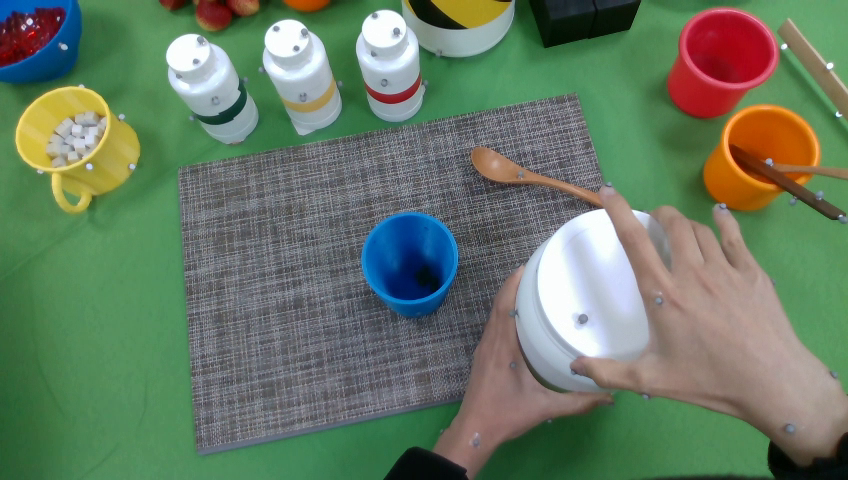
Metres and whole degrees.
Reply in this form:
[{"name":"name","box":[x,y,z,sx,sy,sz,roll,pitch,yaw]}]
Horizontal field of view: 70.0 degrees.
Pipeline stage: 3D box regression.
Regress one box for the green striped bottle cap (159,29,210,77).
[{"name":"green striped bottle cap","box":[-0.230,-0.179,0.581,0.044,0.020,0.044,0,71,1]}]

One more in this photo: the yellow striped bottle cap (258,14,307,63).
[{"name":"yellow striped bottle cap","box":[-0.136,-0.194,0.583,0.044,0.019,0.044,0,73,1]}]

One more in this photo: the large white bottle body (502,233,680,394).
[{"name":"large white bottle body","box":[0.137,0.057,0.507,0.130,0.186,0.129,-1,71,2]}]

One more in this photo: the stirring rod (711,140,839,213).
[{"name":"stirring rod","box":[0.323,-0.064,0.570,0.014,0.006,0.174,-9,29,-3]}]

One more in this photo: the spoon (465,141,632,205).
[{"name":"spoon","box":[0.133,-0.061,0.632,0.193,0.022,0.041,19,49,8]}]

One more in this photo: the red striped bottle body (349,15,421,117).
[{"name":"red striped bottle body","box":[-0.040,-0.186,0.632,0.063,0.120,0.062,-2,70,6]}]

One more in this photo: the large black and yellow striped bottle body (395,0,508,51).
[{"name":"large black and yellow striped bottle body","box":[0.028,-0.304,0.633,0.131,0.185,0.130,-1,72,2]}]

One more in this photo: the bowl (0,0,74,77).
[{"name":"bowl","box":[-0.461,-0.240,0.687,0.151,0.077,0.150,0,72,1]}]

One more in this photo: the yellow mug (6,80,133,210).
[{"name":"yellow mug","box":[-0.376,-0.095,0.643,0.100,0.064,0.130,-2,72,1]}]

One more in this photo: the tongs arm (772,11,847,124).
[{"name":"tongs arm","box":[0.493,-0.092,0.625,0.051,0.027,0.382,-23,73,-7]}]

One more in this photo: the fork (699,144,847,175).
[{"name":"fork","box":[0.354,-0.068,0.563,0.028,0.019,0.205,-51,33,-11]}]

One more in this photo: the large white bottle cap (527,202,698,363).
[{"name":"large white bottle cap","box":[0.130,0.027,0.423,0.115,0.018,0.114,-1,70,4]}]

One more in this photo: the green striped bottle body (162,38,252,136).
[{"name":"green striped bottle body","box":[-0.227,-0.163,0.631,0.063,0.120,0.063,-1,71,2]}]

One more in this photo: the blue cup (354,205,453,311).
[{"name":"blue cup","box":[-0.017,0.026,0.568,0.092,0.101,0.092,0,71,1]}]

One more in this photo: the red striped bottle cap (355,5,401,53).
[{"name":"red striped bottle cap","box":[-0.044,-0.203,0.582,0.044,0.018,0.044,1,70,-2]}]

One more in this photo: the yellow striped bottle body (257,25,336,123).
[{"name":"yellow striped bottle body","box":[-0.134,-0.178,0.632,0.063,0.121,0.062,-1,71,3]}]
